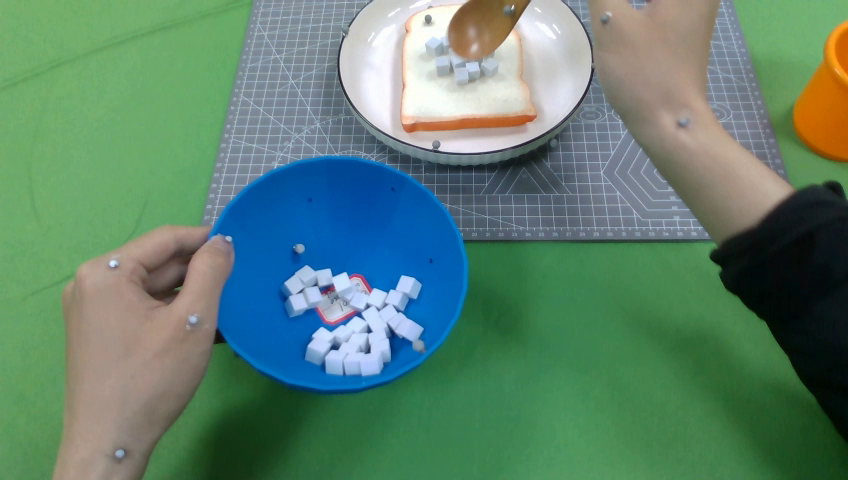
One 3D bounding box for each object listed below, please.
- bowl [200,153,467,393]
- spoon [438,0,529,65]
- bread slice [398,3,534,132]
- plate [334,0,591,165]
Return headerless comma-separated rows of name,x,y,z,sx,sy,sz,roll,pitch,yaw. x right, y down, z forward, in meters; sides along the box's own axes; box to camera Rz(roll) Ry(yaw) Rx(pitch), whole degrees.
bowl,-0.055,0.029,0.379,0.152,0.077,0.150,5,61,-8
spoon,0.078,-0.160,0.371,0.022,0.193,0.041,-17,89,-41
bread slice,0.027,-0.148,0.513,0.107,0.018,0.133,-7,63,0
plate,0.030,-0.144,0.508,0.209,0.038,0.207,-1,61,3
